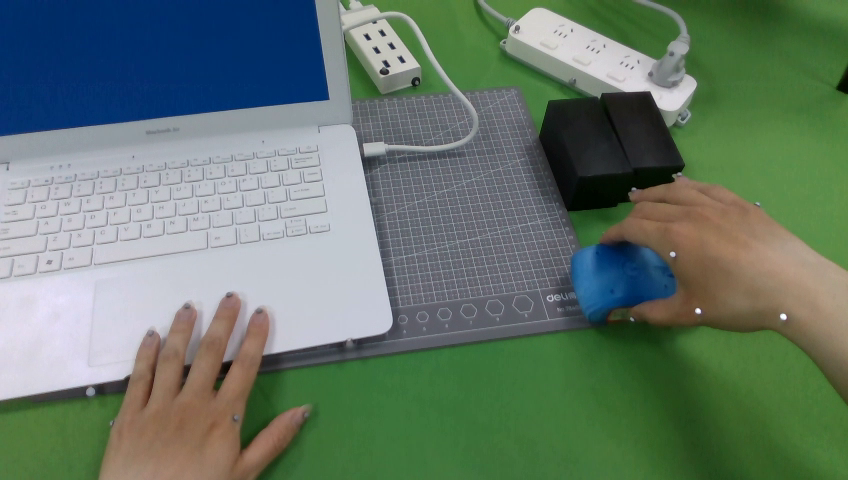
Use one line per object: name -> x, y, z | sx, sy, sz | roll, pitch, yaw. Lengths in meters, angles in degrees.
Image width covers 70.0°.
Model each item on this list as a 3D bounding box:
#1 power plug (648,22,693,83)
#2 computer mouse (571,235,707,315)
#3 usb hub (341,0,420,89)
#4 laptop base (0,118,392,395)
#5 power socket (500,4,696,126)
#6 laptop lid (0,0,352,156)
power plug -> 0.269, -0.190, 0.645 | 0.072, 0.053, 0.035 | -36, 62, -23
computer mouse -> 0.181, 0.029, 0.504 | 0.117, 0.041, 0.062 | 4, 54, -14
usb hub -> -0.054, -0.222, 0.681 | 0.049, 0.025, 0.124 | -21, 59, -17
laptop base -> -0.219, 0.003, 0.518 | 0.355, 0.023, 0.233 | -9, 59, -9
power socket -> 0.192, -0.198, 0.674 | 0.225, 0.033, 0.072 | 34, 59, 19
laptop lid -> -0.245, -0.181, 0.503 | 0.357, 0.244, 0.013 | -10, 43, -8
